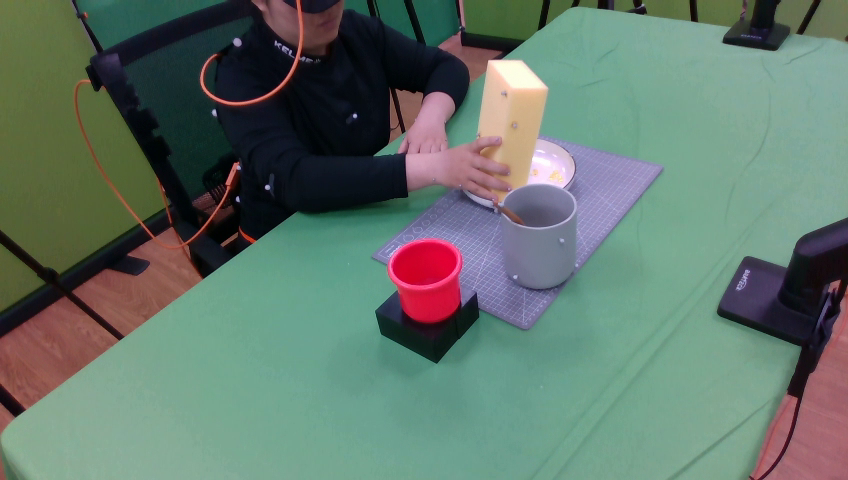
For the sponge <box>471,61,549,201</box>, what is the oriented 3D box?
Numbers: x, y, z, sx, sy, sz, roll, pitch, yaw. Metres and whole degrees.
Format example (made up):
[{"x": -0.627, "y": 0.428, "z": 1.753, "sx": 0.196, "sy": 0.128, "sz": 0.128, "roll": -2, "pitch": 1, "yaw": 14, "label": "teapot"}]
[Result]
[{"x": 0.136, "y": -0.175, "z": 0.997, "sx": 0.061, "sy": 0.207, "sz": 0.117, "roll": -3, "pitch": 35, "yaw": -14, "label": "sponge"}]

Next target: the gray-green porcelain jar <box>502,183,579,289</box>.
[{"x": 0.166, "y": -0.001, "z": 0.866, "sx": 0.106, "sy": 0.127, "sz": 0.105, "roll": -5, "pitch": 40, "yaw": 5, "label": "gray-green porcelain jar"}]

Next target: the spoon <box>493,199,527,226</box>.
[{"x": 0.135, "y": -0.016, "z": 0.831, "sx": 0.021, "sy": 0.195, "sz": 0.041, "roll": -49, "pitch": 53, "yaw": -1, "label": "spoon"}]

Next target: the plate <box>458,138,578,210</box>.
[{"x": 0.166, "y": -0.113, "z": 1.068, "sx": 0.207, "sy": 0.039, "sz": 0.206, "roll": -5, "pitch": 40, "yaw": 5, "label": "plate"}]
